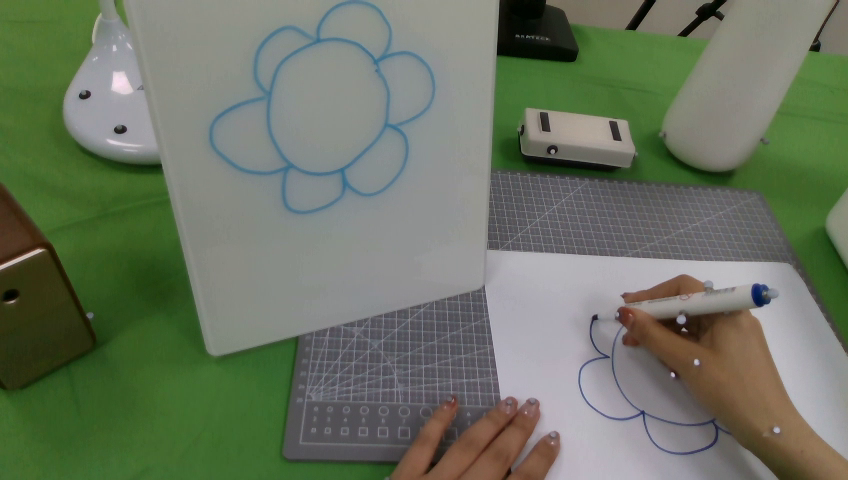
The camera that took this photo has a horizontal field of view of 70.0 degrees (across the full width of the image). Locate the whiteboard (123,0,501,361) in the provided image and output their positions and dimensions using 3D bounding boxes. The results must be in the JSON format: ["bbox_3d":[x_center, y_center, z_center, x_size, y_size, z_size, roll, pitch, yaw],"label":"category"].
[{"bbox_3d":[-0.076,-0.101,0.435,0.218,0.308,0.142,-12,32,-19],"label":"whiteboard"}]

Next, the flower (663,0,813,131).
[{"bbox_3d":[0.335,-0.208,0.529,0.044,0.363,0.038,-17,70,-32],"label":"flower"}]

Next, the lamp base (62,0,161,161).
[{"bbox_3d":[-0.254,-0.188,0.526,0.178,0.181,0.160,34,51,23],"label":"lamp base"}]

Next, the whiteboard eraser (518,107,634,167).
[{"bbox_3d":[0.153,-0.103,0.619,0.113,0.042,0.055,5,45,-5],"label":"whiteboard eraser"}]

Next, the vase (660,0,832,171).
[{"bbox_3d":[0.314,-0.164,0.598,0.098,0.201,0.097,6,47,-6],"label":"vase"}]

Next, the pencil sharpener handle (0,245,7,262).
[{"bbox_3d":[-0.297,-0.012,0.391,0.036,0.068,0.030,-38,63,-26],"label":"pencil sharpener handle"}]

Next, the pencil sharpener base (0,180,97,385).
[{"bbox_3d":[-0.264,0.027,0.379,0.076,0.108,0.061,40,54,24],"label":"pencil sharpener base"}]

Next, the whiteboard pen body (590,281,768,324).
[{"bbox_3d":[0.173,0.048,0.433,0.017,0.140,0.017,10,72,-33],"label":"whiteboard pen body"}]

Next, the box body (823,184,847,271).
[{"bbox_3d":[0.519,0.062,0.456,0.254,0.161,0.360,5,48,-5],"label":"box body"}]
